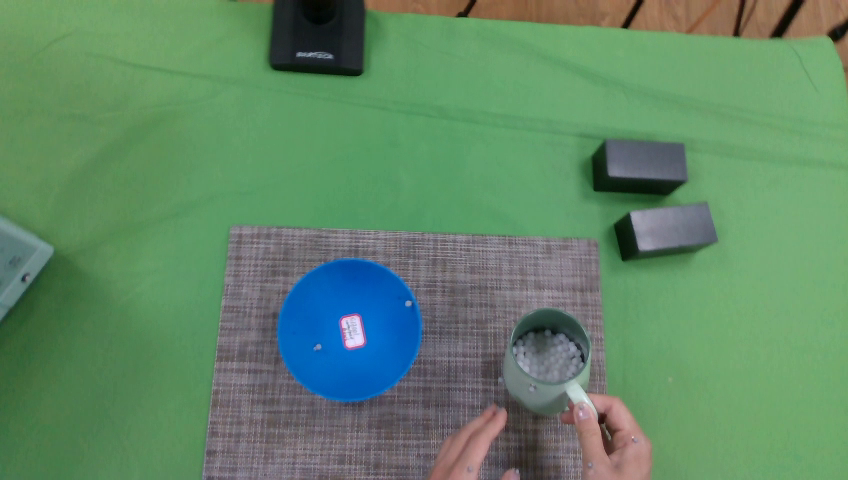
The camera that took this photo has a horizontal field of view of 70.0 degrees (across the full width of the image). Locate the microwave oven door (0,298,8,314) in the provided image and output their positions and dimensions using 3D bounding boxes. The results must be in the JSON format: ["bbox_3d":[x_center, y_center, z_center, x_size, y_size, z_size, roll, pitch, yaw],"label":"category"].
[{"bbox_3d":[-0.542,0.175,0.499,0.039,0.245,0.354,30,74,4],"label":"microwave oven door"}]

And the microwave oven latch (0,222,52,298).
[{"bbox_3d":[-0.441,0.022,0.655,0.030,0.029,0.079,32,75,3],"label":"microwave oven latch"}]

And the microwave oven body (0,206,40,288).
[{"bbox_3d":[-0.649,0.069,0.522,0.326,0.261,0.440,30,75,3],"label":"microwave oven body"}]

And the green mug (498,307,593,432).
[{"bbox_3d":[0.132,0.138,0.623,0.092,0.106,0.124,-28,63,-9],"label":"green mug"}]

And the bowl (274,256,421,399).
[{"bbox_3d":[-0.083,0.099,0.664,0.151,0.077,0.150,1,75,-5],"label":"bowl"}]
